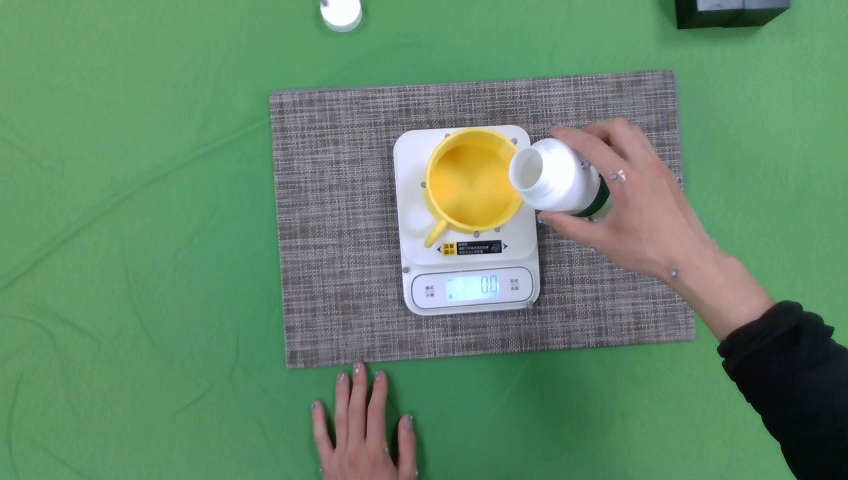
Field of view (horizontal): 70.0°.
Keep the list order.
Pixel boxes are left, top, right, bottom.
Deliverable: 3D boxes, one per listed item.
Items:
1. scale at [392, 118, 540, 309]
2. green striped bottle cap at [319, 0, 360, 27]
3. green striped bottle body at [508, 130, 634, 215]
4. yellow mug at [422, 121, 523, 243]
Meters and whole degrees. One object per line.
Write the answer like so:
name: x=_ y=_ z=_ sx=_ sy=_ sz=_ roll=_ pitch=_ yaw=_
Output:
scale: x=0.046 y=-0.029 z=0.651 sx=0.149 sy=0.031 sz=0.200 roll=-4 pitch=90 yaw=-1
green striped bottle cap: x=-0.093 y=-0.258 z=0.664 sx=0.044 sy=0.020 sz=0.044 roll=0 pitch=91 yaw=-2
green striped bottle body: x=0.128 y=-0.060 z=0.539 sx=0.120 sy=0.063 sz=0.063 roll=7 pitch=88 yaw=-40
yellow mug: x=0.039 y=-0.050 z=0.605 sx=0.100 sy=0.064 sz=0.131 roll=36 pitch=89 yaw=-1
